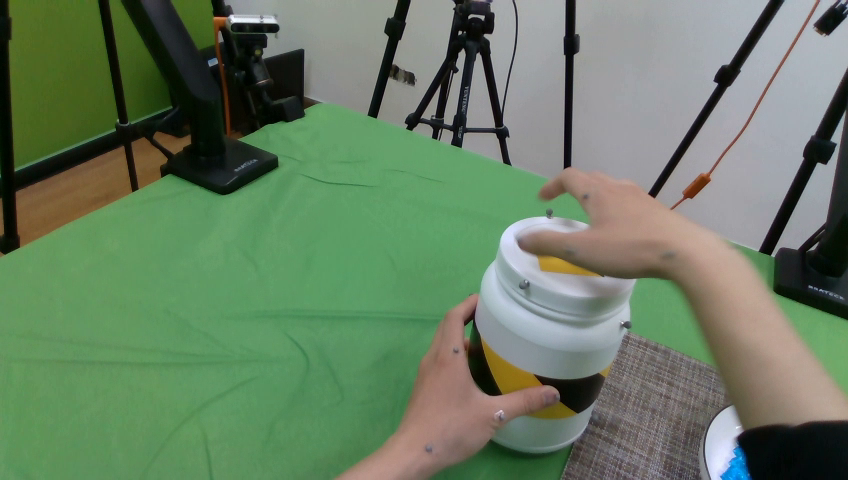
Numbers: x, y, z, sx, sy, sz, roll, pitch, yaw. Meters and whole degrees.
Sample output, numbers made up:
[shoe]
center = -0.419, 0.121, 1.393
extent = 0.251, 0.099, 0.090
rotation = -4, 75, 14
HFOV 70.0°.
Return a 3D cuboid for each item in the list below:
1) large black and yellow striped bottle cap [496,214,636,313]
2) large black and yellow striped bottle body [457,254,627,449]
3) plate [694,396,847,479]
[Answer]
[large black and yellow striped bottle cap]
center = 0.117, 0.016, 0.505
extent = 0.115, 0.019, 0.114
rotation = 5, 35, -3
[large black and yellow striped bottle body]
center = 0.106, 0.086, 0.554
extent = 0.131, 0.185, 0.129
rotation = 6, 35, -4
[plate]
center = 0.338, 0.228, 0.528
extent = 0.208, 0.039, 0.205
rotation = 6, 35, -4
